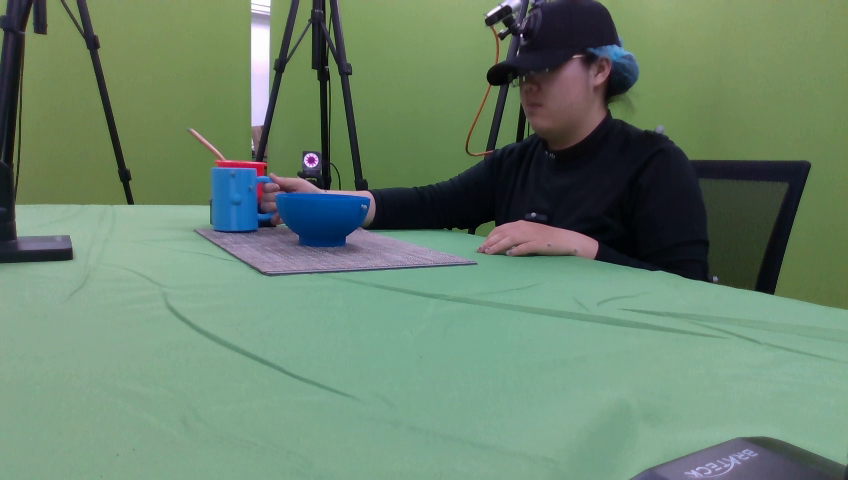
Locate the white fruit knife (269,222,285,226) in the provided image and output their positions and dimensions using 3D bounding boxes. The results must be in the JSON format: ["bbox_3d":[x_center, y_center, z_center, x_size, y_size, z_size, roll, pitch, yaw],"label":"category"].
[{"bbox_3d":[-0.222,-0.037,1.261,0.208,0.016,0.027,-4,-18,-31],"label":"white fruit knife"}]

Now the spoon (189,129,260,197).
[{"bbox_3d":[-0.388,-0.150,1.174,0.193,0.021,0.042,48,20,7],"label":"spoon"}]

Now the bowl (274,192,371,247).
[{"bbox_3d":[-0.161,-0.032,0.959,0.151,0.077,0.151,3,7,0],"label":"bowl"}]

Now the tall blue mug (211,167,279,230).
[{"bbox_3d":[-0.323,-0.075,1.080,0.077,0.108,0.108,7,9,41],"label":"tall blue mug"}]
